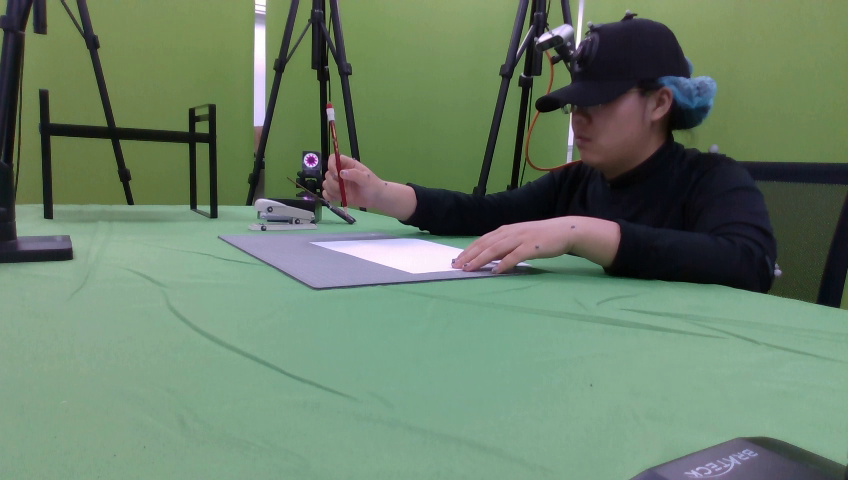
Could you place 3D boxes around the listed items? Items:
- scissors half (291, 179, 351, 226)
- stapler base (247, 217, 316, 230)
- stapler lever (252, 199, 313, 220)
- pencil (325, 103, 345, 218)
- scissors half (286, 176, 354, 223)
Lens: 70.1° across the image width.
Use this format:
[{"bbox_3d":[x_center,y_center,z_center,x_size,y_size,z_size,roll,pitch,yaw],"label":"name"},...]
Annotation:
[{"bbox_3d":[-0.232,-0.085,1.317,0.175,0.013,0.040,38,20,4],"label":"scissors half"},{"bbox_3d":[-0.276,-0.033,1.172,0.131,0.024,0.041,0,10,-37],"label":"stapler base"},{"bbox_3d":[-0.273,-0.058,1.170,0.119,0.040,0.026,0,10,-37],"label":"stapler lever"},{"bbox_3d":[-0.147,-0.133,1.014,0.012,0.194,0.012,-9,-1,0],"label":"pencil"},{"bbox_3d":[-0.229,-0.091,1.337,0.175,0.013,0.040,33,15,-13],"label":"scissors half"}]
